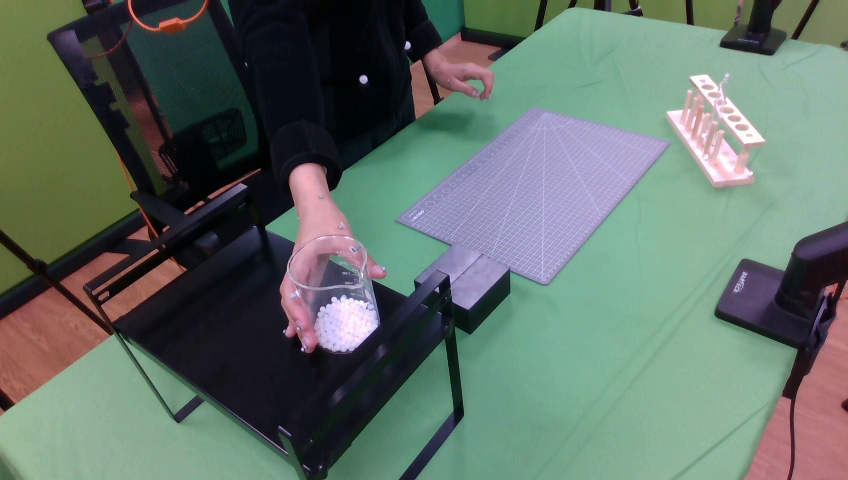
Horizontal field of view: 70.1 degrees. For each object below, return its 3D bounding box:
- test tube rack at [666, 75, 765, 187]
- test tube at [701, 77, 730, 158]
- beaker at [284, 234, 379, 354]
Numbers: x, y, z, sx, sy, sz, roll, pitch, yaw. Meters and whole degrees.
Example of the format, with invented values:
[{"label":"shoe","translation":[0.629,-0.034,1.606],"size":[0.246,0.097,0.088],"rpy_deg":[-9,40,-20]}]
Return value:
[{"label":"test tube rack","translation":[0.512,-0.201,1.082],"size":[0.067,0.085,0.241],"rpy_deg":[-6,41,2]},{"label":"test tube","translation":[0.491,-0.204,1.020],"size":[0.017,0.151,0.017],"rpy_deg":[-3,41,4]},{"label":"beaker","translation":[-0.083,0.056,0.585],"size":[0.083,0.101,0.074],"rpy_deg":[28,53,33]}]
